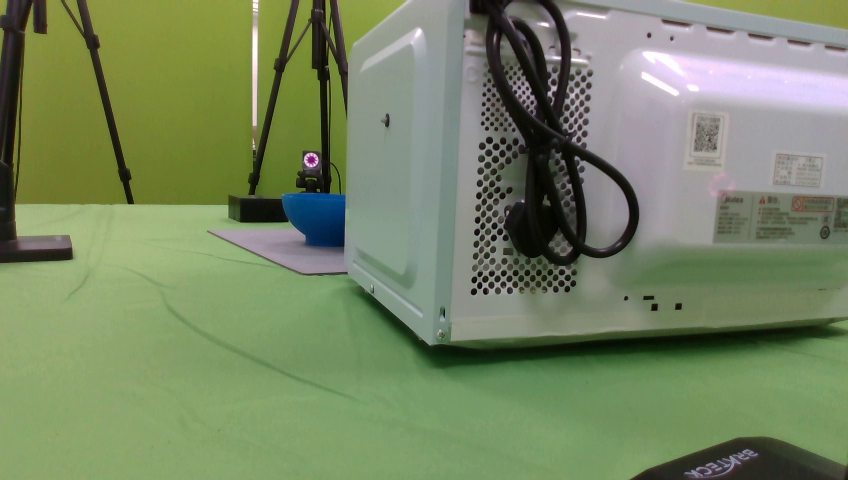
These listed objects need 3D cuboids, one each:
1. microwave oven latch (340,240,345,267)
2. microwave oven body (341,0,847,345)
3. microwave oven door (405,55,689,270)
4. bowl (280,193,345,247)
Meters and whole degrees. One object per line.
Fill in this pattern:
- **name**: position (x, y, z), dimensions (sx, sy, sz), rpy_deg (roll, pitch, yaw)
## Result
- **microwave oven latch**: position (-0.052, 0.016, 0.662), dimensions (0.079, 0.029, 0.030), rpy_deg (1, 7, -18)
- **microwave oven body**: position (0.169, -0.060, 0.573), dimensions (0.444, 0.260, 0.324), rpy_deg (1, 7, -20)
- **microwave oven door**: position (0.157, -0.086, 0.736), dimensions (0.357, 0.243, 0.039), rpy_deg (0, 8, -16)
- **bowl**: position (-0.153, -0.032, 0.969), dimensions (0.151, 0.077, 0.151), rpy_deg (3, 7, 0)
